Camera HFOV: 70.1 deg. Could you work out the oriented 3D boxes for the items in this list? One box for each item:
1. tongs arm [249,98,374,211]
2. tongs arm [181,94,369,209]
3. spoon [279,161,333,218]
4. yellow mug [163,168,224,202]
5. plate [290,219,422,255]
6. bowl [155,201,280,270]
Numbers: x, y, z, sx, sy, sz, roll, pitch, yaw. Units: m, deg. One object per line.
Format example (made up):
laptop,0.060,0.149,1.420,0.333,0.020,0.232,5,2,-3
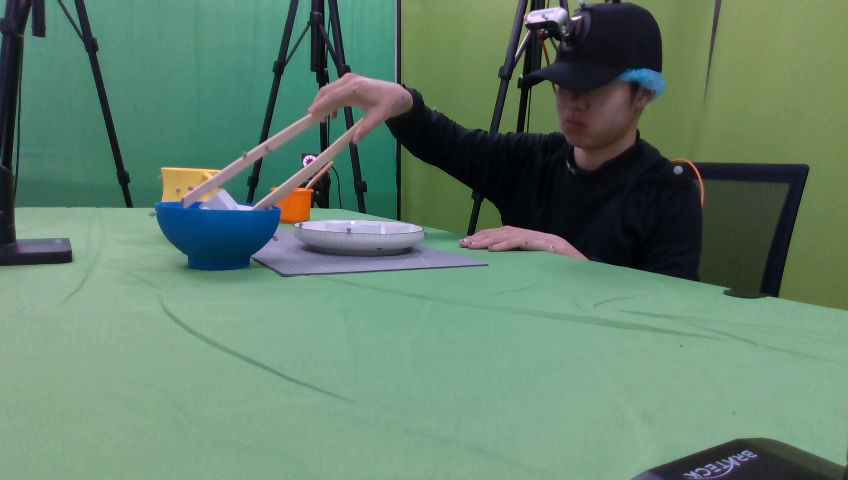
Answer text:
tongs arm,-0.163,-0.117,0.887,0.028,0.028,0.388,24,43,12
tongs arm,-0.200,-0.138,0.894,0.050,0.026,0.385,28,43,10
spoon,-0.262,-0.115,1.359,0.041,0.194,0.022,12,-33,38
yellow mug,-0.383,-0.087,1.026,0.130,0.064,0.100,11,11,44
plate,-0.108,-0.005,0.963,0.208,0.039,0.207,3,7,0
bowl,-0.262,-0.006,0.771,0.151,0.077,0.151,4,7,0
